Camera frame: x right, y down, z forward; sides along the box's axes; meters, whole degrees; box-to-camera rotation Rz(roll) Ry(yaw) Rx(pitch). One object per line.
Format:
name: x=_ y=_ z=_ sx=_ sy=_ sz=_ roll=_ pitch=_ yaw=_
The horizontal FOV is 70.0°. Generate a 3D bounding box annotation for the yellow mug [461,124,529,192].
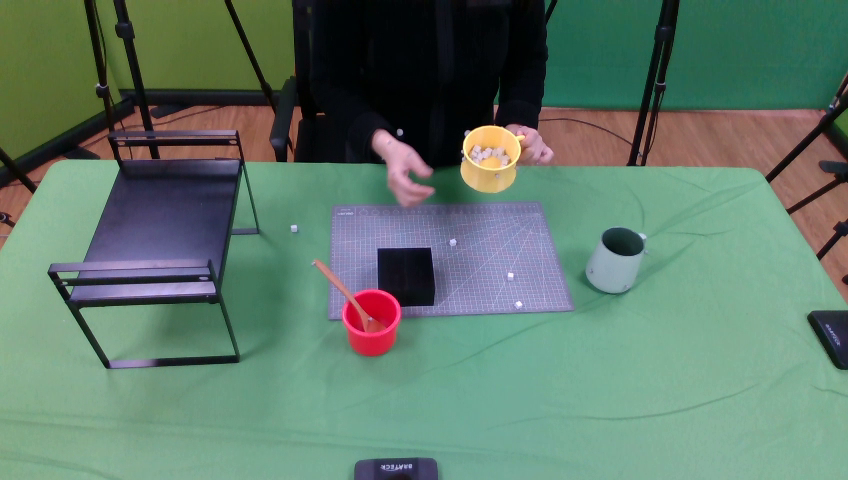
yellow mug: x=0.129 y=-0.149 z=1.057 sx=0.131 sy=0.064 sz=0.099 roll=-26 pitch=62 yaw=-17

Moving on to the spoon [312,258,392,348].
spoon: x=-0.119 y=0.103 z=1.005 sx=0.194 sy=0.021 sz=0.041 roll=54 pitch=49 yaw=-14

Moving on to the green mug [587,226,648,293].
green mug: x=0.372 y=0.030 z=1.136 sx=0.125 sy=0.105 sz=0.092 roll=-27 pitch=53 yaw=-26
